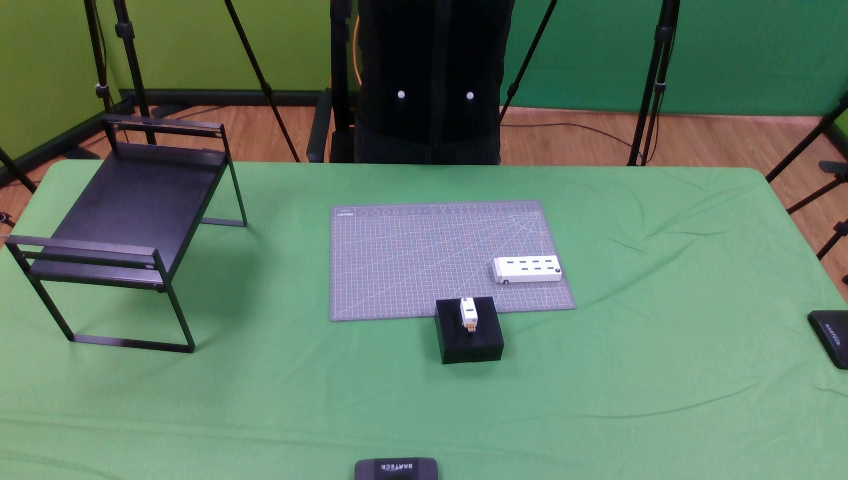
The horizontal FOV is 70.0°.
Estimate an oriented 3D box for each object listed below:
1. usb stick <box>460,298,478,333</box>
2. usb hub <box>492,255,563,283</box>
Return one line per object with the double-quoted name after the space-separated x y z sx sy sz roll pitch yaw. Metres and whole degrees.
0.075 0.126 1.008 0.021 0.027 0.059 -1 49 -9 "usb stick"
0.196 0.056 1.151 0.125 0.025 0.049 -2 47 -5 "usb hub"
